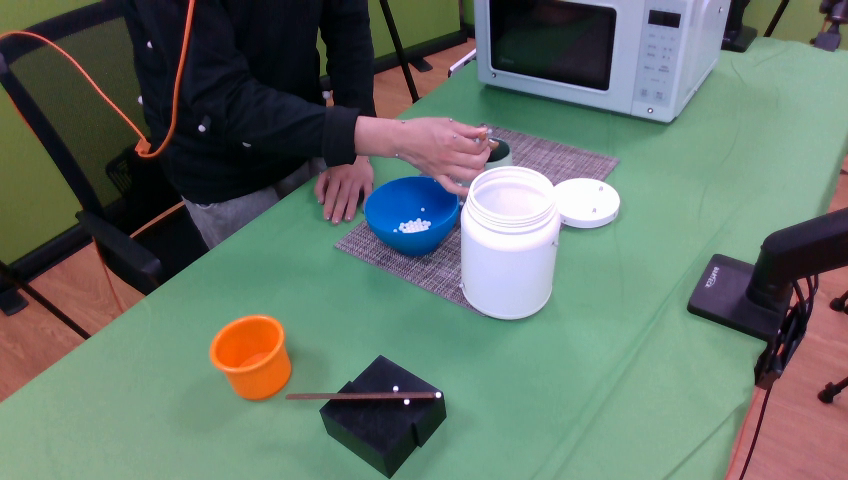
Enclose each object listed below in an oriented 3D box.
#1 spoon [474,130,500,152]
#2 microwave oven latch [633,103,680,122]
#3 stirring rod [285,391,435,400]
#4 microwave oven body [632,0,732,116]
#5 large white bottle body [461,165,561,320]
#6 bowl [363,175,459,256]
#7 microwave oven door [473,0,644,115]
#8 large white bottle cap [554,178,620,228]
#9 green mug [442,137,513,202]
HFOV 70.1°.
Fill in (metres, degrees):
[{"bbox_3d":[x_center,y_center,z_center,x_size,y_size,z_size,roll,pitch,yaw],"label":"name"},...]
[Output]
[{"bbox_3d":[0.088,-0.147,0.882,0.041,0.021,0.194,-8,0,9],"label":"spoon"},{"bbox_3d":[0.444,-0.249,1.157,0.078,0.029,0.030,21,49,30],"label":"microwave oven latch"},{"bbox_3d":[-0.075,0.180,0.698,0.176,0.006,0.014,-2,7,7],"label":"stirring rod"},{"bbox_3d":[0.377,-0.462,1.267,0.438,0.261,0.327,21,48,30],"label":"microwave oven body"},{"bbox_3d":[0.115,0.004,0.816,0.130,0.185,0.130,-2,43,2],"label":"large white bottle body"},{"bbox_3d":[-0.017,-0.029,0.955,0.151,0.077,0.150,-4,40,4],"label":"bowl"},{"bbox_3d":[0.257,-0.396,1.199,0.353,0.245,0.039,21,48,29],"label":"microwave oven door"},{"bbox_3d":[0.265,-0.063,1.001,0.115,0.018,0.114,-3,42,3],"label":"large white bottle cap"},{"bbox_3d":[0.091,-0.108,1.012,0.125,0.105,0.092,2,42,12],"label":"green mug"}]
